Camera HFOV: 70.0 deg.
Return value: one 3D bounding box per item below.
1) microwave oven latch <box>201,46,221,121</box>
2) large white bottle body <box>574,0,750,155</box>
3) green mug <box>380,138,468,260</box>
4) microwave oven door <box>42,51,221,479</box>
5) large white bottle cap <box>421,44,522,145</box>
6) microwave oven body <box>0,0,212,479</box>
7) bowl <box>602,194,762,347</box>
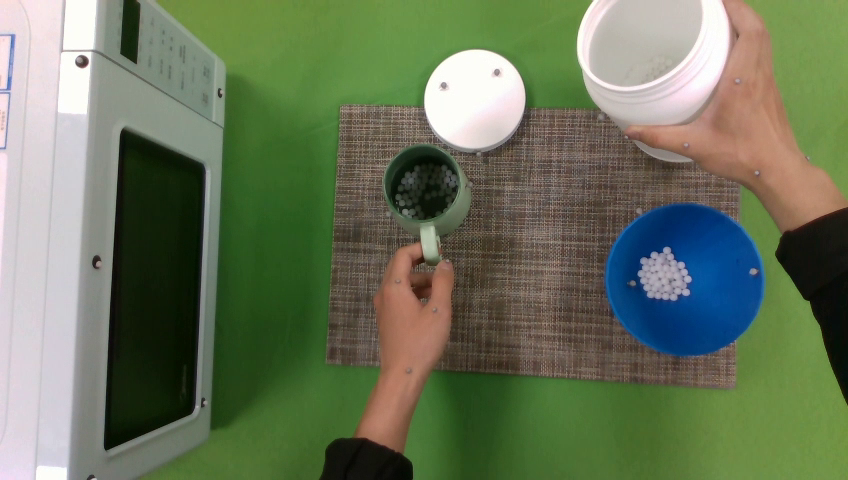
[{"bbox_3d":[-0.248,-0.176,0.687,0.030,0.029,0.079,1,88,5],"label":"microwave oven latch"},{"bbox_3d":[0.225,-0.165,0.570,0.130,0.186,0.130,-7,77,34],"label":"large white bottle body"},{"bbox_3d":[0.001,-0.041,0.640,0.092,0.105,0.125,-7,87,4],"label":"green mug"},{"bbox_3d":[-0.264,0.036,0.577,0.039,0.244,0.355,0,87,6],"label":"microwave oven door"},{"bbox_3d":[0.053,-0.164,0.683,0.115,0.018,0.114,-1,83,5],"label":"large white bottle cap"},{"bbox_3d":[-0.408,-0.008,0.596,0.326,0.260,0.441,1,88,5],"label":"microwave oven body"},{"bbox_3d":[0.254,0.032,0.627,0.151,0.077,0.151,0,87,5],"label":"bowl"}]
